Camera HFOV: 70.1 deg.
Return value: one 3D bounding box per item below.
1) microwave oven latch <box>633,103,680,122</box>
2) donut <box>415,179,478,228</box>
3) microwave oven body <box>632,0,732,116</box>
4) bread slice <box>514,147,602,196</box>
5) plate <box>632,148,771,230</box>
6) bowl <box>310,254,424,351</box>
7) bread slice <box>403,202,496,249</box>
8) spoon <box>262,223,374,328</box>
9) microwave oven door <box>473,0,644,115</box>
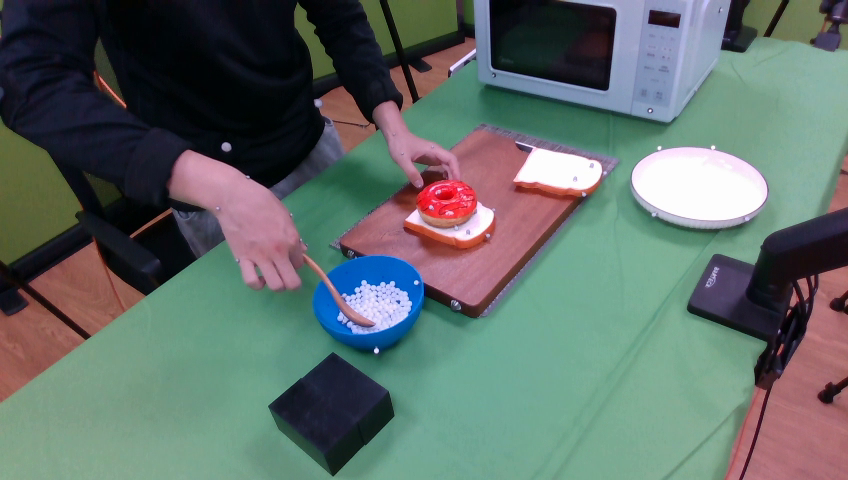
[{"bbox_3d":[0.444,-0.249,1.157,0.078,0.029,0.030,21,49,30],"label":"microwave oven latch"},{"bbox_3d":[0.036,-0.058,0.944,0.099,0.048,0.098,-5,40,4],"label":"donut"},{"bbox_3d":[0.377,-0.462,1.267,0.438,0.261,0.327,21,48,30],"label":"microwave oven body"},{"bbox_3d":[0.233,-0.115,1.027,0.133,0.018,0.107,13,45,20],"label":"bread slice"},{"bbox_3d":[0.447,-0.081,0.988,0.207,0.039,0.206,-4,40,4],"label":"plate"},{"bbox_3d":[-0.071,0.097,0.821,0.151,0.077,0.150,-4,40,4],"label":"bowl"},{"bbox_3d":[0.048,-0.034,0.961,0.130,0.019,0.105,22,49,31],"label":"bread slice"},{"bbox_3d":[-0.137,0.046,0.780,0.021,0.041,0.194,-42,91,1],"label":"spoon"},{"bbox_3d":[0.257,-0.396,1.199,0.353,0.245,0.039,21,48,29],"label":"microwave oven door"}]
